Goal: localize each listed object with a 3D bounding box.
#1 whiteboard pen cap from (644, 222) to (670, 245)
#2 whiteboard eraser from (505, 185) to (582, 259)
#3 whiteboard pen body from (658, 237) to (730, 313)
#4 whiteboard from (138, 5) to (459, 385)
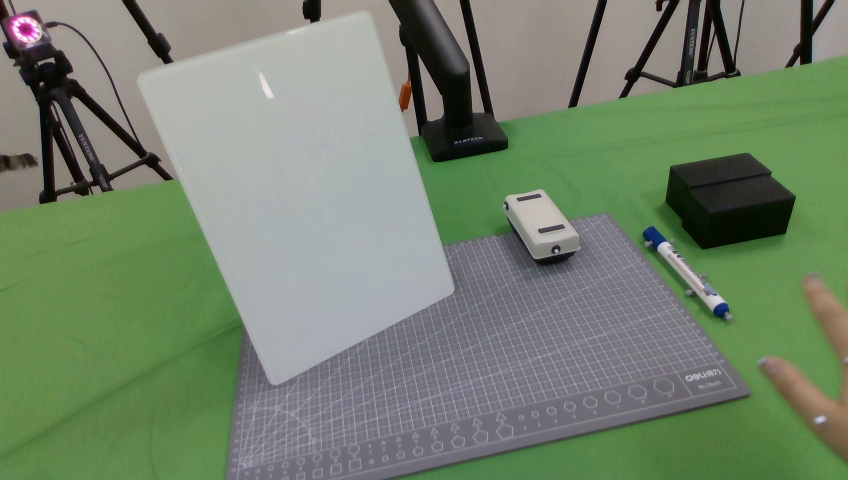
[{"bbox_3d":[0.267,-0.006,0.691,0.018,0.018,0.033,-13,35,-6],"label":"whiteboard pen cap"},{"bbox_3d":[0.138,-0.022,0.712,0.055,0.042,0.111,-14,37,-6],"label":"whiteboard eraser"},{"bbox_3d":[0.279,0.028,0.645,0.017,0.017,0.139,-12,36,-6],"label":"whiteboard pen body"},{"bbox_3d":[-0.126,-0.051,0.630,0.217,0.307,0.142,-25,20,-21],"label":"whiteboard"}]
